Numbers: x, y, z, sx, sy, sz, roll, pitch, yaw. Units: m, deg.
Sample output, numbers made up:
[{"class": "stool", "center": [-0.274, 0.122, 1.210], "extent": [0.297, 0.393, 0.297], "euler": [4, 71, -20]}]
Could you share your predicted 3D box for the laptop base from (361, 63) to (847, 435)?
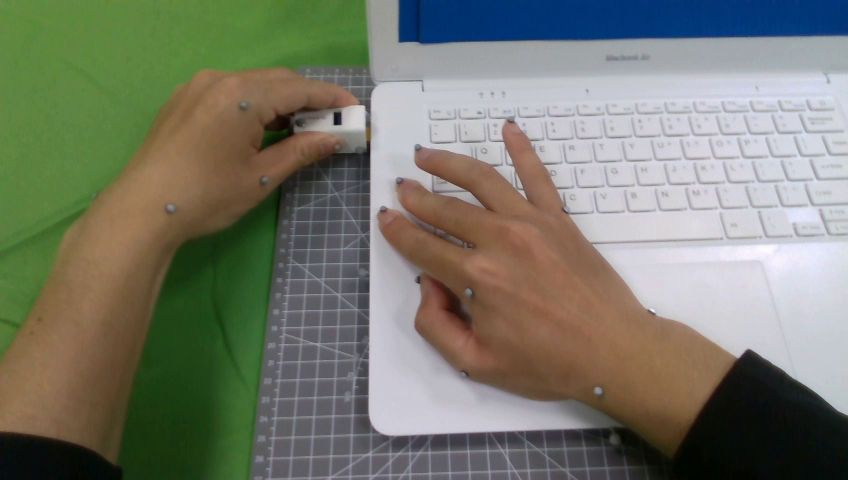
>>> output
[{"class": "laptop base", "center": [0.140, -0.009, 0.371], "extent": [0.354, 0.023, 0.233], "euler": [-2, 65, -2]}]

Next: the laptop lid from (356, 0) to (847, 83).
[{"class": "laptop lid", "center": [0.133, -0.202, 0.347], "extent": [0.357, 0.244, 0.013], "euler": [-4, 41, -2]}]

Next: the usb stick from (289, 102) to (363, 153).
[{"class": "usb stick", "center": [-0.055, -0.072, 0.385], "extent": [0.059, 0.027, 0.021], "euler": [-3, 59, -9]}]
